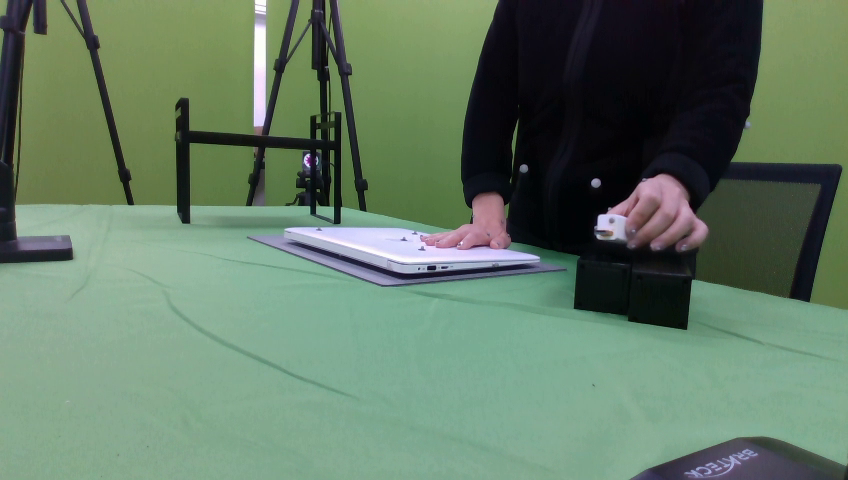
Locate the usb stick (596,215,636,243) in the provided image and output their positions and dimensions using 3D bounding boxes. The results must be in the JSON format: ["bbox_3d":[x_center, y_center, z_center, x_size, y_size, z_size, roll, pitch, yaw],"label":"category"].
[{"bbox_3d":[0.193,-0.011,0.615,0.021,0.027,0.059,-1,-1,44],"label":"usb stick"}]

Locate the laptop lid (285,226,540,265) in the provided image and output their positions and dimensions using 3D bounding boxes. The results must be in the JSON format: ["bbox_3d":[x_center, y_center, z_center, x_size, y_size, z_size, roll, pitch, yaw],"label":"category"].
[{"bbox_3d":[-0.031,0.003,0.896,0.243,0.013,0.355,0,7,-35],"label":"laptop lid"}]

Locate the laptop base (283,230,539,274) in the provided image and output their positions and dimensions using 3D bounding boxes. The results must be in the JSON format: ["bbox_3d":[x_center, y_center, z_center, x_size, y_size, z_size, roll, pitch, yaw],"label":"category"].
[{"bbox_3d":[-0.034,0.014,0.896,0.237,0.023,0.352,1,7,-37],"label":"laptop base"}]
